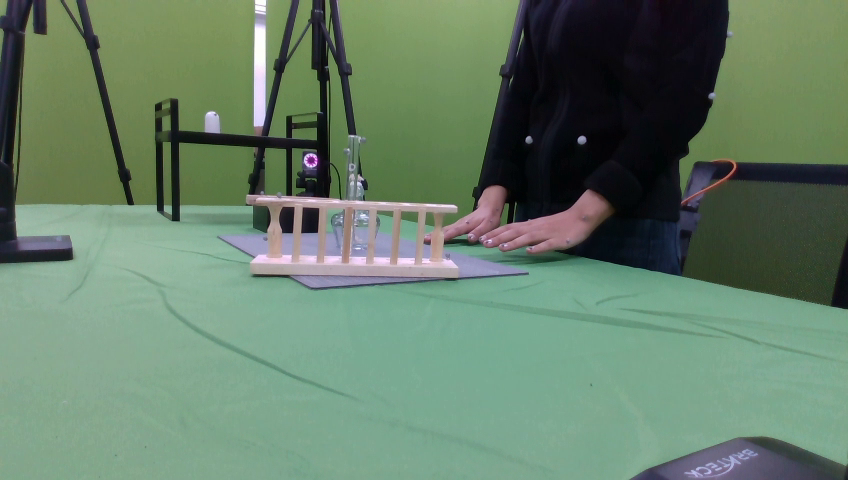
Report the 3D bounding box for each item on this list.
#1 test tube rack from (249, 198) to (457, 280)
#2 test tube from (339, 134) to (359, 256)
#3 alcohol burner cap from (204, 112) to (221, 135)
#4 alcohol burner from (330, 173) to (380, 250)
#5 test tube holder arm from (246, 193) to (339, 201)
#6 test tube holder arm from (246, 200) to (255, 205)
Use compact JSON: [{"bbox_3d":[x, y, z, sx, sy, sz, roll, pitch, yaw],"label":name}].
[{"bbox_3d":[-0.082,-0.002,0.733,0.243,0.085,0.066,2,8,-7],"label":"test tube rack"},{"bbox_3d":[-0.092,-0.054,0.743,0.017,0.150,0.017,4,5,0],"label":"test tube"},{"bbox_3d":[-0.444,-0.245,1.270,0.034,0.048,0.034,4,8,0],"label":"alcohol burner cap"},{"bbox_3d":[-0.107,-0.044,0.938,0.078,0.119,0.078,1,6,0],"label":"alcohol burner"},{"bbox_3d":[-0.244,-0.081,1.140,0.179,0.013,0.015,-6,21,-31],"label":"test tube holder arm"},{"bbox_3d":[-0.283,-0.072,1.118,0.088,0.010,0.015,-6,21,-31],"label":"test tube holder arm"}]
